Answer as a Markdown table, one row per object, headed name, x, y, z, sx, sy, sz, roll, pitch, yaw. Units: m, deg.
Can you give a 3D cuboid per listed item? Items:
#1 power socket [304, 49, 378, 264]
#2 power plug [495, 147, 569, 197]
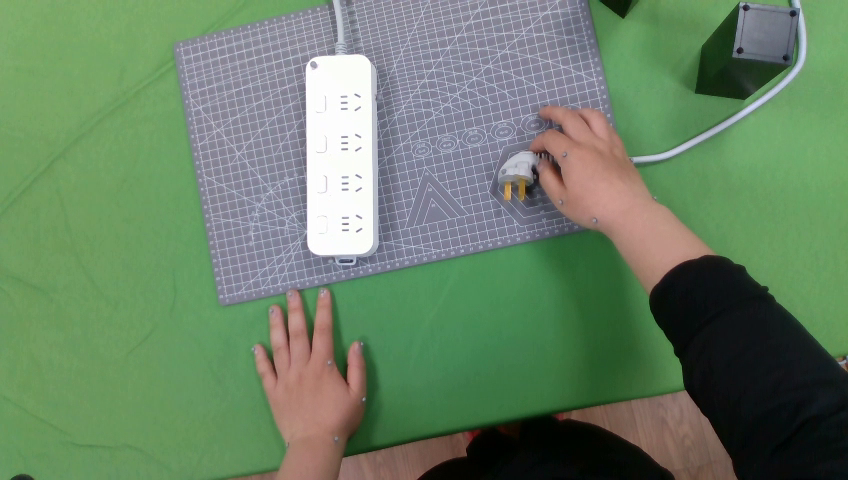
| name | x | y | z | sx | sy | sz | roll | pitch | yaw |
| --- | --- | --- | --- | --- | --- | --- | --- | --- | --- |
| power socket | -0.087 | -0.088 | 0.635 | 0.072 | 0.032 | 0.226 | -2 | 87 | 5 |
| power plug | 0.108 | -0.068 | 0.609 | 0.072 | 0.035 | 0.052 | 0 | 76 | 15 |
